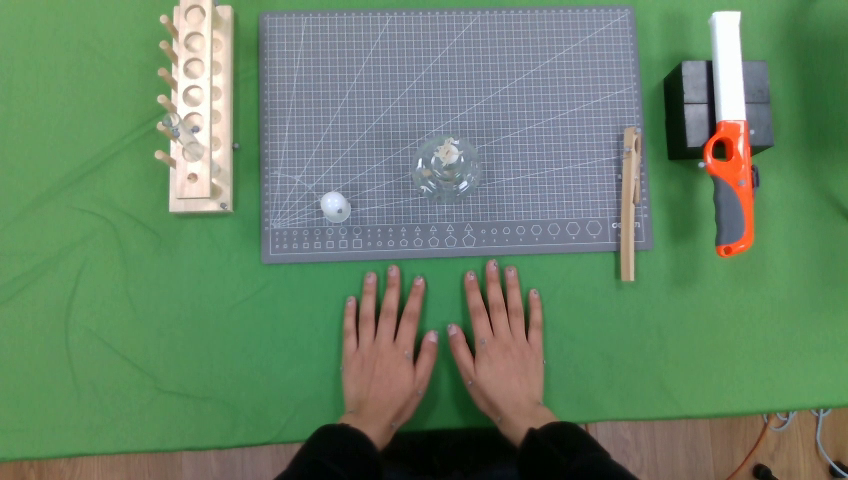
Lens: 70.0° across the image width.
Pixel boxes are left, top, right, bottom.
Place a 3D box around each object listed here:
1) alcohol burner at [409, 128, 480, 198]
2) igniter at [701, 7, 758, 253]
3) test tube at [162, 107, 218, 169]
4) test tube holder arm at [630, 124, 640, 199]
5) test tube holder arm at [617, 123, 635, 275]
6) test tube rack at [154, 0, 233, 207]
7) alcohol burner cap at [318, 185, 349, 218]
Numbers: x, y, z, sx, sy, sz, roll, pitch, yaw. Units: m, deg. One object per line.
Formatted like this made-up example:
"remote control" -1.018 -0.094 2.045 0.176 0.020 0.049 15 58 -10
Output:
"alcohol burner" 0.023 -0.086 0.648 0.078 0.119 0.077 0 84 -1
"igniter" 0.333 -0.122 0.666 0.057 0.025 0.275 1 83 4
"test tube" -0.230 -0.098 0.605 0.017 0.150 0.017 1 80 -6
"test tube holder arm" 0.242 -0.091 0.705 0.010 0.015 0.087 11 81 -31
"test tube holder arm" 0.232 -0.048 0.696 0.013 0.015 0.178 10 81 -31
"test tube rack" -0.254 -0.163 0.660 0.067 0.085 0.241 -2 84 -2
"alcohol burner cap" -0.102 -0.045 0.673 0.034 0.048 0.034 0 82 -2
